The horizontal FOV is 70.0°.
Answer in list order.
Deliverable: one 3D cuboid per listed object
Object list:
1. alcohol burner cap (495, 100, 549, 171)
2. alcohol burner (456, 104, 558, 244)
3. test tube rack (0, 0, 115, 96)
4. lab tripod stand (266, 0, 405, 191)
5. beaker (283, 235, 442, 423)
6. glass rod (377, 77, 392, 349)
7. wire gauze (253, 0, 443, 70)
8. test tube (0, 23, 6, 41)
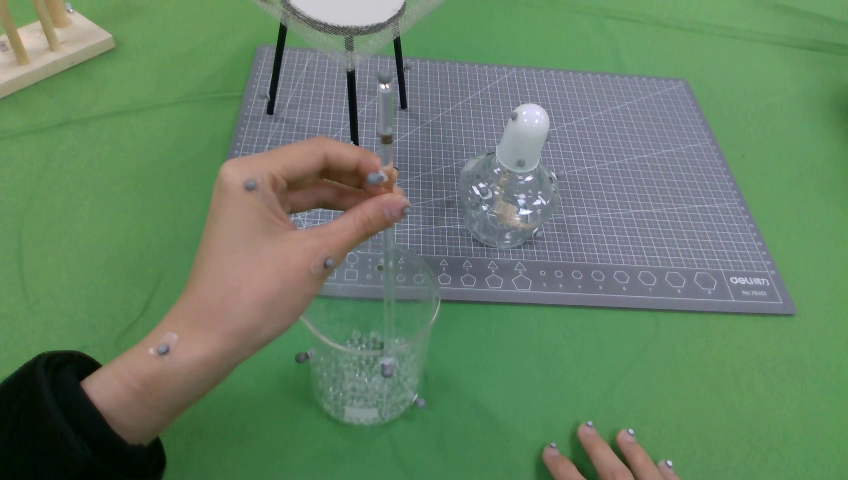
[{"bbox_3d":[0.069,-0.074,0.417,0.034,0.048,0.033,4,55,-5],"label":"alcohol burner cap"},{"bbox_3d":[0.065,-0.052,0.446,0.078,0.120,0.077,5,49,-6],"label":"alcohol burner"},{"bbox_3d":[-0.391,-0.162,0.493,0.066,0.086,0.242,34,54,19],"label":"test tube rack"},{"bbox_3d":[-0.063,-0.135,0.482,0.148,0.132,0.147,5,51,-6],"label":"lab tripod stand"},{"bbox_3d":[-0.036,0.058,0.356,0.084,0.101,0.073,-5,51,-10],"label":"beaker"},{"bbox_3d":[-0.021,0.001,0.330,0.008,0.201,0.008,2,46,-1],"label":"glass rod"},{"bbox_3d":[-0.058,-0.177,0.430,0.124,0.011,0.121,35,56,18],"label":"wire gauze"},{"bbox_3d":[-0.375,-0.230,0.485,0.017,0.151,0.017,2,48,-2],"label":"test tube"}]
